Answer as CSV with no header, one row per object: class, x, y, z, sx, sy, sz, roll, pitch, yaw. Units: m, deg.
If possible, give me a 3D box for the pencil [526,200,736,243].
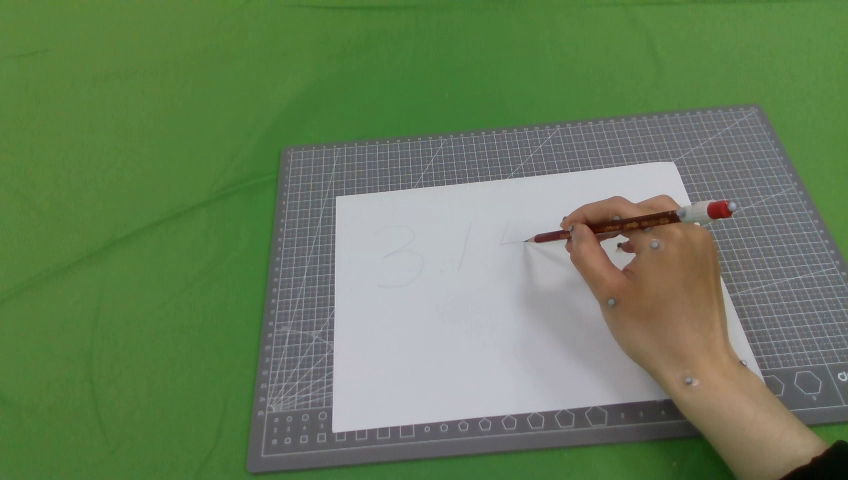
pencil,0.121,-0.008,0.402,0.012,0.193,0.012,2,84,-23
